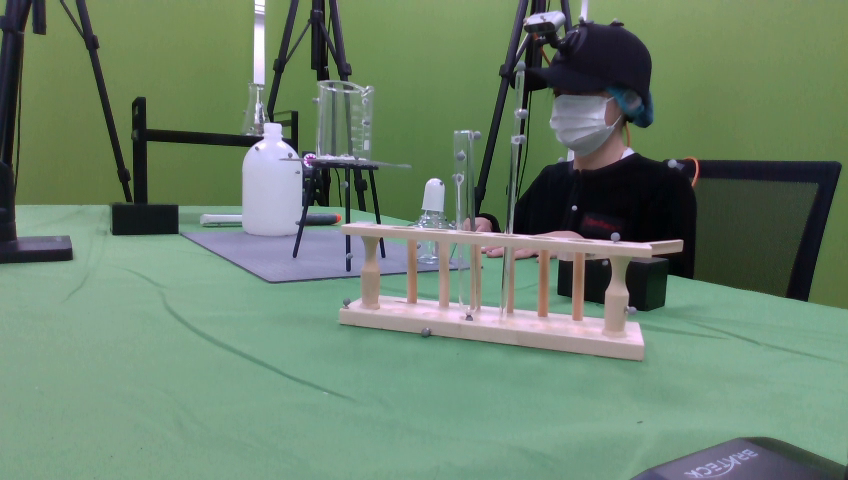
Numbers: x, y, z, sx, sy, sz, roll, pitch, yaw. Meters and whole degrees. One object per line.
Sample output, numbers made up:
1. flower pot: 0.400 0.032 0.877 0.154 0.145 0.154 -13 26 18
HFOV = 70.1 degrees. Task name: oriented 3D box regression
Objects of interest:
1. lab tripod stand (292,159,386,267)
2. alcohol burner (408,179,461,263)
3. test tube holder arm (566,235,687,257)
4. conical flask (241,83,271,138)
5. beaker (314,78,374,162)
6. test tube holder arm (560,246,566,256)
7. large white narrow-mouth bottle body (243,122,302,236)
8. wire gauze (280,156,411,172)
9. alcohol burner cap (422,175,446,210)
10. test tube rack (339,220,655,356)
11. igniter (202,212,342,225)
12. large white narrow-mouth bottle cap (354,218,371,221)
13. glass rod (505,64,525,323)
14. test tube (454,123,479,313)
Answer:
1. lab tripod stand: -0.105 -0.039 0.797 0.148 0.131 0.148 2 5 0
2. alcohol burner: 0.014 -0.029 0.834 0.078 0.119 0.078 0 6 0
3. test tube holder arm: 0.215 0.006 0.630 0.179 0.015 0.013 -3 10 -31
4. conical flask: -0.384 -0.297 1.393 0.075 0.122 0.075 2 7 0
5. beaker: -0.101 -0.150 0.773 0.074 0.100 0.083 -2 8 -40
6. test tube holder arm: 0.173 0.007 0.612 0.088 0.015 0.010 -3 10 -30
7. large white narrow-mouth bottle body: -0.264 -0.109 1.061 0.102 0.194 0.102 2 8 0
8. wire gauze: -0.102 -0.103 0.785 0.121 0.011 0.126 11 8 42
9. alcohol burner cap: 0.016 -0.065 0.830 0.034 0.048 0.034 7 4 0
10. test tube rack: 0.056 0.032 0.495 0.242 0.085 0.067 4 7 15
11. igniter: -0.298 -0.043 1.216 0.278 0.025 0.057 -3 -2 -32
12. large white narrow-mouth bottle cap: -0.120 -0.029 1.184 0.038 0.024 0.037 2 8 0
13. glass rod: 0.069 -0.030 0.458 0.008 0.199 0.008 1 15 0
14. test tube: 0.034 -0.016 0.477 0.017 0.150 0.017 -2 9 1
